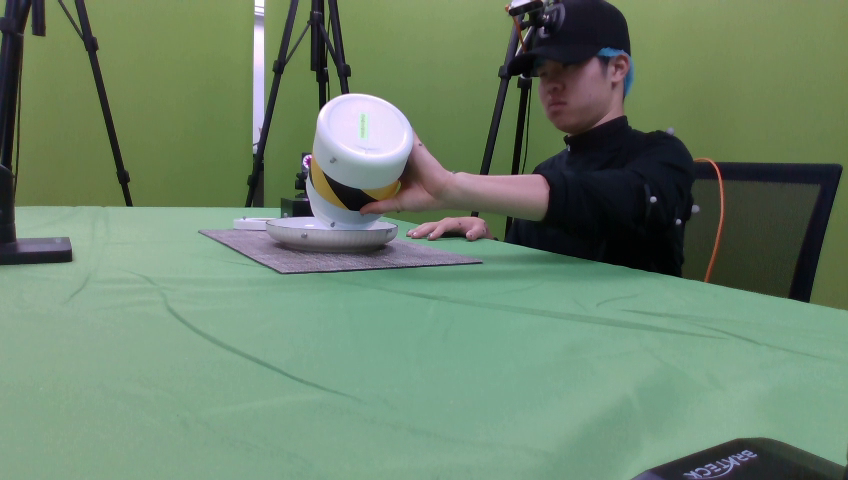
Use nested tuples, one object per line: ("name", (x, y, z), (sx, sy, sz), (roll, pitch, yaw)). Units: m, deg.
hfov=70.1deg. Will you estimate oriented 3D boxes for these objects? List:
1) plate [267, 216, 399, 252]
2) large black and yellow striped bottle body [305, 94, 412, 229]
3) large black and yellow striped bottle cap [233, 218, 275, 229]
("plate", (-0.145, -0.010, 0.967), (0.208, 0.039, 0.207), (2, 7, 0))
("large black and yellow striped bottle body", (-0.100, -0.102, 0.872), (0.131, 0.130, 0.184), (0, -34, -19))
("large black and yellow striped bottle cap", (-0.311, -0.032, 1.172), (0.115, 0.019, 0.115), (1, 4, 0))
